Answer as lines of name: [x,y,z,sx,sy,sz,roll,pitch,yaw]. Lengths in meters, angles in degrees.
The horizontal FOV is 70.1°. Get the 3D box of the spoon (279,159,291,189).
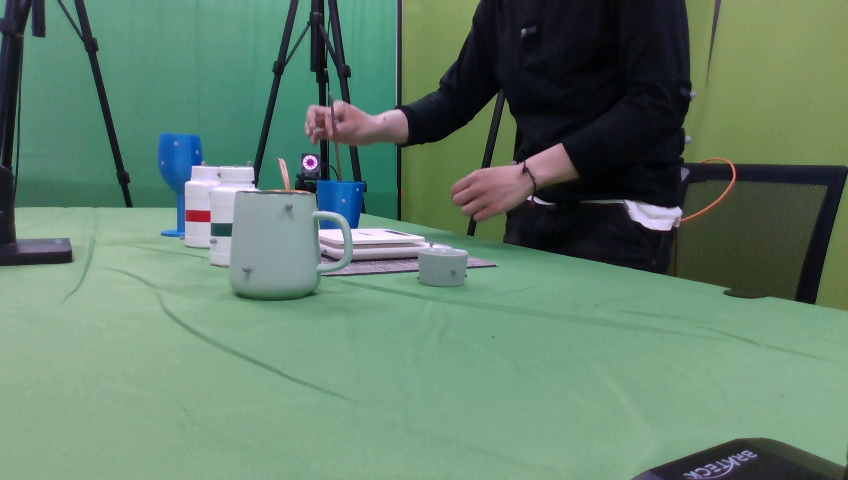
spoon: [-0.281,-0.102,1.251,0.042,0.193,0.021,4,-39,-28]

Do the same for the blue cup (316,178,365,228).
blue cup: [-0.150,-0.057,1.072,0.093,0.100,0.092,3,8,0]

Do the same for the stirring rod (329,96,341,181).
stirring rod: [-0.156,-0.166,1.068,0.006,0.176,0.014,-6,2,-19]

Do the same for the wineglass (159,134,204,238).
wineglass: [-0.415,-0.093,1.040,0.074,0.172,0.073,2,7,0]

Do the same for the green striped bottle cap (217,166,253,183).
green striped bottle cap: [-0.242,-0.085,0.777,0.044,0.020,0.044,2,9,0]

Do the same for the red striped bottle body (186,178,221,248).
red striped bottle body: [-0.331,-0.050,0.927,0.063,0.119,0.063,2,6,0]

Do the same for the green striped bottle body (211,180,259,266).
green striped bottle body: [-0.243,-0.029,0.784,0.063,0.119,0.063,2,7,0]

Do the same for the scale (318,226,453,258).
scale: [-0.066,0.001,0.906,0.202,0.031,0.148,-2,8,-31]

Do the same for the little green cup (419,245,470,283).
little green cup: [0.023,0.028,0.712,0.061,0.038,0.061,1,6,0]

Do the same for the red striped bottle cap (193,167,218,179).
red striped bottle cap: [-0.329,-0.102,0.921,0.044,0.017,0.044,1,8,0]

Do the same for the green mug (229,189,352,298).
green mug: [-0.135,0.002,0.618,0.125,0.105,0.092,2,7,4]
